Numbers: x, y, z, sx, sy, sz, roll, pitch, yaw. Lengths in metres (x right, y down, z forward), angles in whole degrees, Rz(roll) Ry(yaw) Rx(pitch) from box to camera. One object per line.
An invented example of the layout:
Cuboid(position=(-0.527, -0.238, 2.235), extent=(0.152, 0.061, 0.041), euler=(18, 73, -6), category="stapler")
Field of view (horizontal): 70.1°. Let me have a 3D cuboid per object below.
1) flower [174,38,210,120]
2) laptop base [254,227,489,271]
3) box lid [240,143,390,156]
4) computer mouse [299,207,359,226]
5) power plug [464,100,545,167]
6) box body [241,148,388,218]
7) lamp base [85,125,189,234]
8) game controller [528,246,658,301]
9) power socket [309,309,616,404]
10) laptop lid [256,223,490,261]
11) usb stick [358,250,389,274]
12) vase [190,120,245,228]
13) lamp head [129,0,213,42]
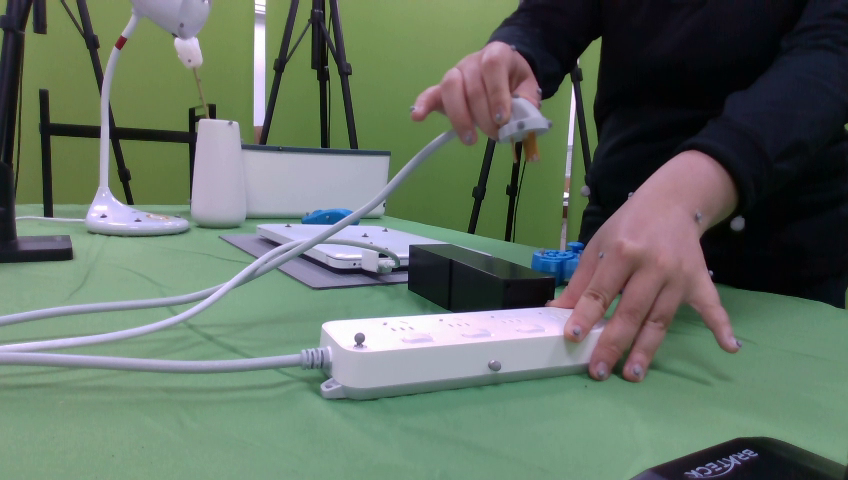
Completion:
Cuboid(position=(-0.401, -0.206, 1.140), extent=(0.038, 0.361, 0.044), euler=(-14, 3, 43), category="flower")
Cuboid(position=(-0.096, 0.011, 0.911), extent=(0.237, 0.023, 0.352), euler=(2, 6, -32), category="laptop base")
Cuboid(position=(-0.295, -0.216, 1.463), extent=(0.373, 0.015, 0.262), euler=(-1, 8, -29), category="box lid")
Cuboid(position=(-0.195, -0.046, 1.240), extent=(0.117, 0.041, 0.063), euler=(0, 10, 12), category="computer mouse")
Cuboid(position=(0.062, -0.076, 0.454), extent=(0.035, 0.052, 0.072), euler=(-7, -3, -20), category="power plug")
Cuboid(position=(-0.297, -0.143, 1.473), extent=(0.366, 0.160, 0.253), euler=(-1, 9, -30), category="box body")
Cuboid(position=(-0.498, -0.105, 1.026), extent=(0.179, 0.180, 0.160), euler=(1, 7, 3), category="lamp base")
Cuboid(position=(0.201, 0.037, 0.731), extent=(0.155, 0.051, 0.097), euler=(5, 10, 20), category="game controller")
Cuboid(position=(0.032, 0.074, 0.414), extent=(0.228, 0.032, 0.072), euler=(-1, 8, -25), category="power socket")
Cuboid(position=(-0.093, 0.000, 0.910), extent=(0.243, 0.013, 0.355), euler=(1, 7, -30), category="laptop lid")
Cuboid(position=(-0.062, 0.026, 0.706), extent=(0.021, 0.027, 0.059), euler=(-3, 0, -27), category="usb stick")
Cuboid(position=(-0.389, -0.123, 1.142), extent=(0.098, 0.200, 0.098), euler=(3, 9, 0), category="vase")
Cuboid(position=(-0.422, -0.394, 0.979), extent=(0.123, 0.112, 0.112), euler=(20, 7, -3), category="lamp head")
